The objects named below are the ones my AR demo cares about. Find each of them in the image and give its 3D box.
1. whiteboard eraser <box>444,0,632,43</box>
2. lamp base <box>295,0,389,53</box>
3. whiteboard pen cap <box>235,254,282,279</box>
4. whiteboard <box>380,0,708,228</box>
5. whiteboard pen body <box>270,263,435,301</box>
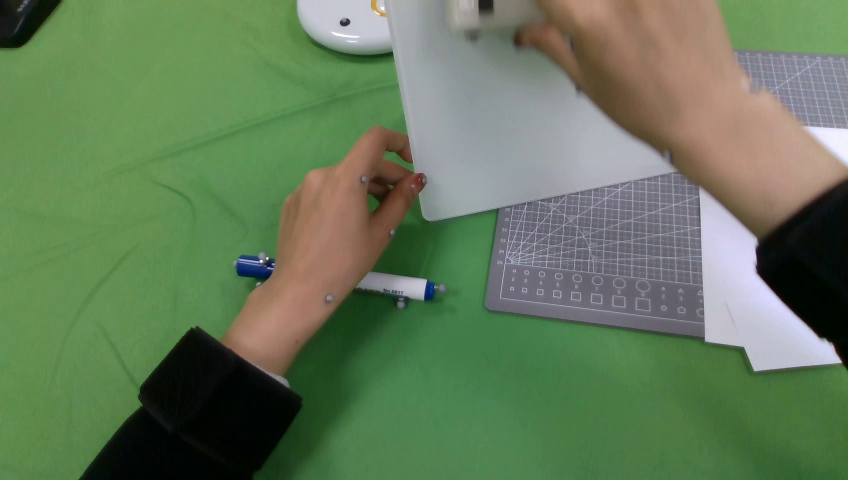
[{"bbox_3d":[0.068,-0.152,0.363,0.113,0.056,0.041,-8,32,-4],"label":"whiteboard eraser"},{"bbox_3d":[-0.068,-0.299,0.569,0.160,0.182,0.177,-34,57,-17],"label":"lamp base"},{"bbox_3d":[-0.120,0.020,0.446,0.033,0.018,0.018,6,56,6],"label":"whiteboard pen cap"},{"bbox_3d":[0.073,-0.192,0.442,0.217,0.308,0.142,-11,36,-1],"label":"whiteboard"},{"bbox_3d":[-0.062,0.029,0.438,0.140,0.017,0.017,6,56,7],"label":"whiteboard pen body"}]
